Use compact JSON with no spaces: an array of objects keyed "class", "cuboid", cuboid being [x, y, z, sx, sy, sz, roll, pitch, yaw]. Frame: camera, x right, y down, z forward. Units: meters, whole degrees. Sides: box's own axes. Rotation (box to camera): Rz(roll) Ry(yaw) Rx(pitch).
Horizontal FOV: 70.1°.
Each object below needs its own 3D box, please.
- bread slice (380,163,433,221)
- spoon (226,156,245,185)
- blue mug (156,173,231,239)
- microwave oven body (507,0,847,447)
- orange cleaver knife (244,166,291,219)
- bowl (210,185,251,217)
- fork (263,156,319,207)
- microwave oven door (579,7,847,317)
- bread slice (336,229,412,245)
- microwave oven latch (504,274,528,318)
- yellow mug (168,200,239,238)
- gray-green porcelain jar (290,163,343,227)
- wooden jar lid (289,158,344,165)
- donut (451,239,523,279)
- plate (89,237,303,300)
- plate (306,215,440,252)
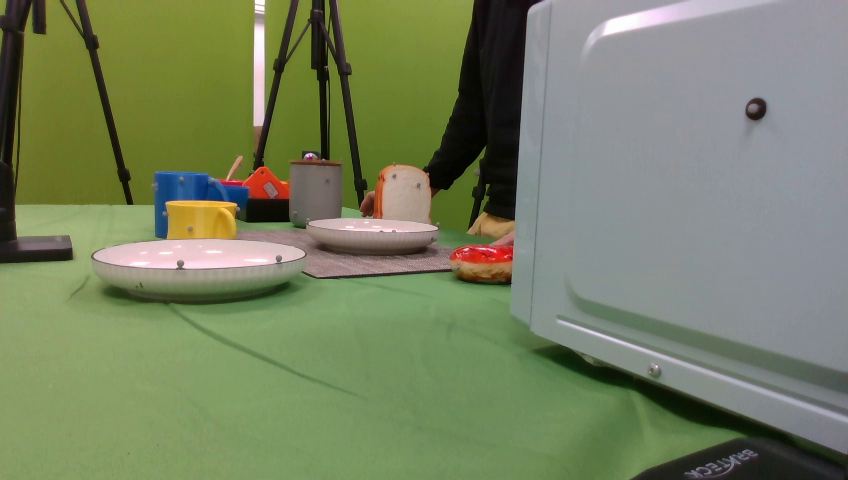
[{"class":"bread slice","cuboid":[-0.035,-0.076,1.124,0.107,0.134,0.018,-3,1,-25]},{"class":"spoon","cuboid":[-0.477,-0.145,1.492,0.041,0.022,0.193,0,51,12]},{"class":"blue mug","cuboid":[-0.381,-0.057,1.004,0.117,0.106,0.082,0,8,-12]},{"class":"microwave oven body","cuboid":[0.331,-0.042,0.425,0.444,0.260,0.324,-2,8,-31]},{"class":"orange cleaver knife","cuboid":[-0.301,-0.089,1.351,0.212,0.077,0.012,32,-11,-34]},{"class":"bowl","cuboid":[-0.408,-0.064,1.155,0.151,0.077,0.151,2,8,0]},{"class":"fork","cuboid":[-0.331,-0.144,1.505,0.207,0.018,0.028,-42,-21,22]},{"class":"microwave oven door","cuboid":[0.294,-0.067,0.570,0.358,0.243,0.039,-3,9,-31]},{"class":"bread slice","cuboid":[-0.074,-0.005,0.938,0.105,0.019,0.131,-2,4,-18]},{"class":"microwave oven latch","cuboid":[0.100,0.041,0.471,0.079,0.029,0.030,-1,8,-28]},{"class":"yellow mug","cuboid":[-0.319,-0.023,0.904,0.130,0.064,0.100,9,11,36]},{"class":"gray-green porcelain jar","cuboid":[-0.217,-0.091,1.221,0.106,0.126,0.106,2,7,0]},{"class":"wooden jar lid","cuboid":[-0.215,-0.153,1.212,0.108,0.020,0.108,2,5,0]},{"class":"donut","cuboid":[0.083,0.023,0.745,0.099,0.048,0.099,0,3,0]},{"class":"plate","cuboid":[-0.233,0.029,0.637,0.208,0.039,0.207,2,7,0]},{"class":"plate","cuboid":[-0.079,-0.011,0.950,0.209,0.038,0.209,2,8,0]}]
